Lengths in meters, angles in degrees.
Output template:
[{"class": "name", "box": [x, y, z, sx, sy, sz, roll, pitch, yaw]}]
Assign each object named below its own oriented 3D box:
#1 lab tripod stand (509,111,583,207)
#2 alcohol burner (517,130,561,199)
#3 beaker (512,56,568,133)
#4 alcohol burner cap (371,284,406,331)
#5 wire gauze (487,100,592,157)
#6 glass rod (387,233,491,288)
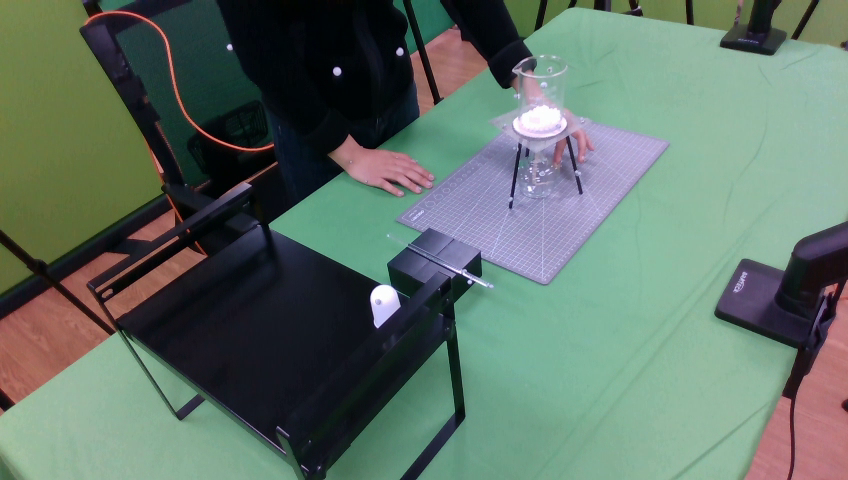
[{"class": "lab tripod stand", "box": [0.198, -0.139, 1.019, 0.148, 0.132, 0.147, -3, 39, 3]}, {"class": "alcohol burner", "box": [0.193, -0.131, 1.026, 0.078, 0.119, 0.077, -4, 38, 4]}, {"class": "beaker", "box": [0.181, -0.225, 0.946, 0.084, 0.101, 0.074, 2, 41, 12]}, {"class": "alcohol burner cap", "box": [-0.037, 0.065, 0.608, 0.034, 0.048, 0.033, -4, 41, 4]}, {"class": "wire gauze", "box": [0.185, -0.187, 0.975, 0.122, 0.011, 0.124, -28, 47, -22]}, {"class": "glass rod", "box": [0.017, 0.027, 0.877, 0.198, 0.008, 0.008, 26, 51, 34]}]
